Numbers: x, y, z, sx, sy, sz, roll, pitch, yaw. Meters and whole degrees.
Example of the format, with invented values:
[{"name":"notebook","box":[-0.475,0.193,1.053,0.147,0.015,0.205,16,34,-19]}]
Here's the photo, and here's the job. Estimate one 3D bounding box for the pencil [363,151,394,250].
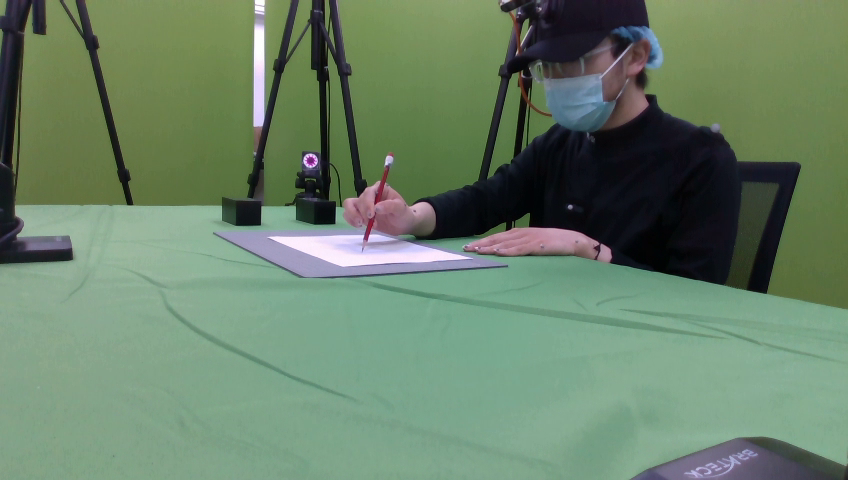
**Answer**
[{"name":"pencil","box":[-0.072,-0.064,0.946,0.012,0.194,0.012,9,-32,6]}]
